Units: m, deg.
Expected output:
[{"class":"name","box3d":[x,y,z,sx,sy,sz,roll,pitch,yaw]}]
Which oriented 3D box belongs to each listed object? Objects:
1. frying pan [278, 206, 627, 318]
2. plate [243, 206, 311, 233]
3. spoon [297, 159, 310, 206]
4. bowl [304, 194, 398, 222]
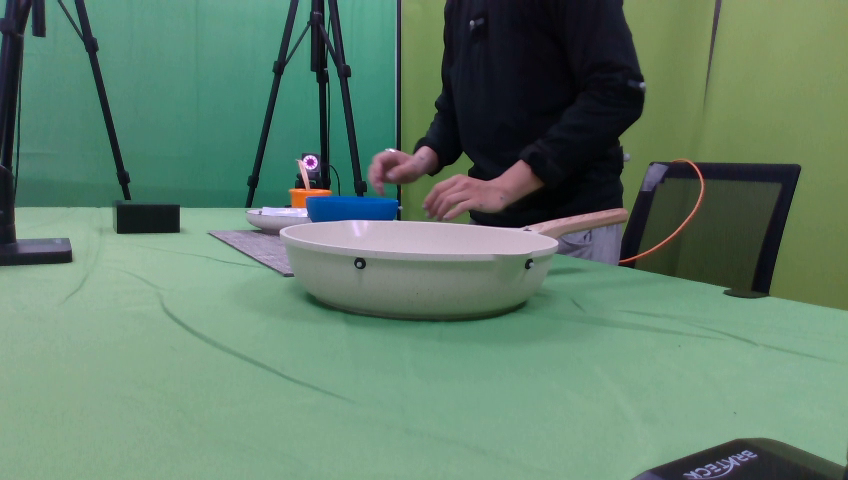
[{"class":"frying pan","box3d":[0.079,0.002,0.705,0.490,0.102,0.305,-12,15,-33]},{"class":"plate","box3d":[-0.236,-0.037,1.150,0.208,0.039,0.207,2,7,0]},{"class":"spoon","box3d":[-0.260,-0.113,1.340,0.042,0.193,0.021,1,-37,-25]},{"class":"bowl","box3d":[-0.118,-0.031,0.974,0.151,0.077,0.151,3,7,0]}]
